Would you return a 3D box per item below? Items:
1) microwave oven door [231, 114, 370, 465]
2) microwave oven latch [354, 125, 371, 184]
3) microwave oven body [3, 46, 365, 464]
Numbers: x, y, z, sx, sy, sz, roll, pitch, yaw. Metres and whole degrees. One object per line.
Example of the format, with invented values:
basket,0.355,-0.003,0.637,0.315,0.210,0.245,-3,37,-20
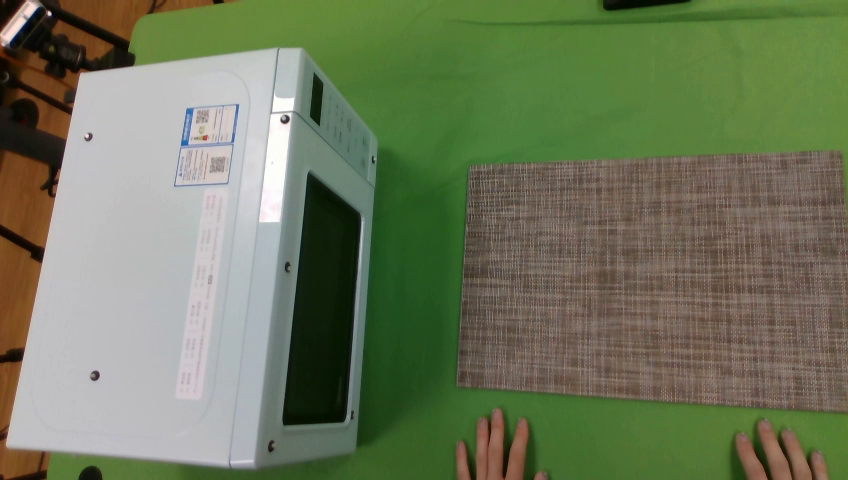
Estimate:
microwave oven door,-0.130,0.067,0.704,0.039,0.245,0.354,-2,75,16
microwave oven latch,-0.091,-0.120,0.851,0.030,0.030,0.079,-1,76,15
microwave oven body,-0.267,0.031,0.758,0.325,0.262,0.439,-2,76,15
